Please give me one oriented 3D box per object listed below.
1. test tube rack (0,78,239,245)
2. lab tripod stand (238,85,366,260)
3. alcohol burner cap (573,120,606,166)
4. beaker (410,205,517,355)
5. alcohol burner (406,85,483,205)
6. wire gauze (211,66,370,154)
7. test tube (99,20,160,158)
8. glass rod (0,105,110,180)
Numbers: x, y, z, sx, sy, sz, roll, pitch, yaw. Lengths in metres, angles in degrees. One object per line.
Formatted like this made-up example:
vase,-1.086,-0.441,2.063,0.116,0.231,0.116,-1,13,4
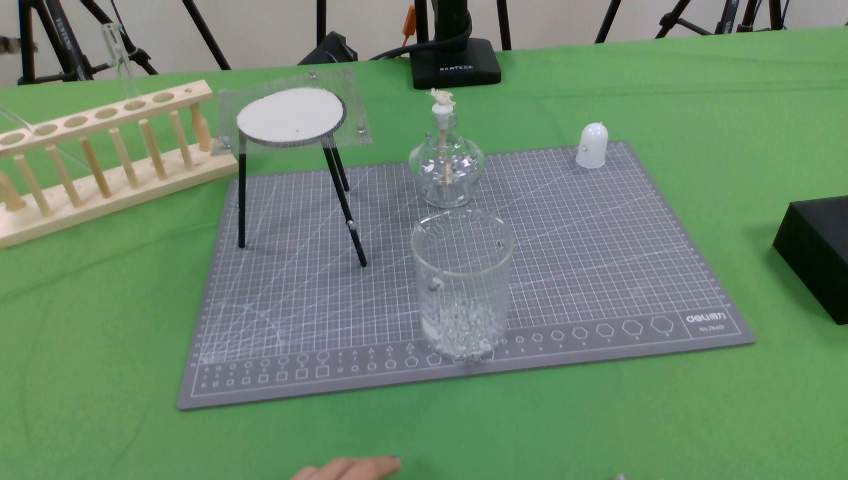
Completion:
test tube rack,-0.331,-0.086,0.633,0.243,0.086,0.066,-22,45,-20
lab tripod stand,-0.111,-0.059,0.550,0.148,0.133,0.147,-2,44,2
alcohol burner cap,0.180,-0.108,0.656,0.034,0.048,0.033,-2,42,2
beaker,0.027,0.033,0.466,0.083,0.101,0.074,27,50,30
alcohol burner,0.020,-0.095,0.598,0.078,0.120,0.077,-3,41,3
wire gauze,-0.114,-0.109,0.505,0.125,0.011,0.120,-10,42,-7
test tube,-0.303,-0.151,0.629,0.017,0.151,0.017,-1,39,1
glass rod,-0.390,-0.114,0.583,0.008,0.202,0.008,-17,52,24
